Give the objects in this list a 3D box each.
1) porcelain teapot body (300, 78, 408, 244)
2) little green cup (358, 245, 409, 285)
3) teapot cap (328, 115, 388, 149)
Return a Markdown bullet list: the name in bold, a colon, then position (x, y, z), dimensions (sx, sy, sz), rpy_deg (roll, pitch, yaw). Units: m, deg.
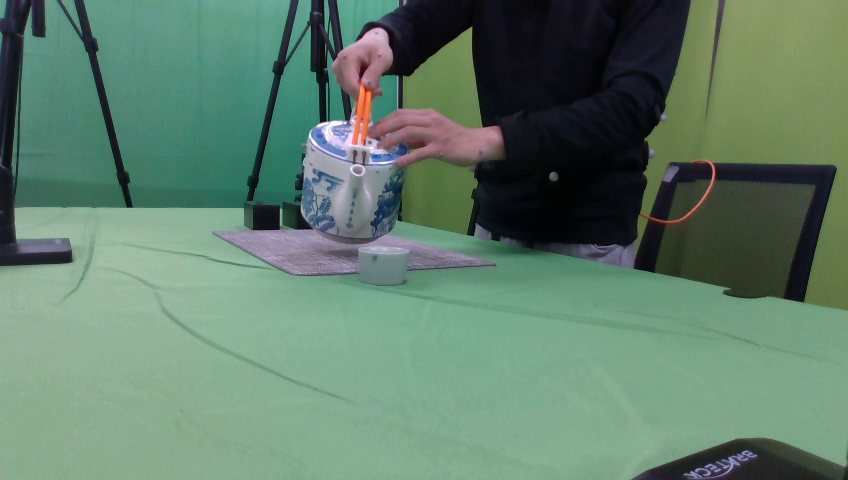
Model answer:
- **porcelain teapot body**: position (-0.094, -0.101, 0.840), dimensions (0.145, 0.225, 0.205), rpy_deg (6, 31, -11)
- **little green cup**: position (-0.048, 0.029, 0.707), dimensions (0.061, 0.038, 0.061), rpy_deg (2, 8, 0)
- **teapot cap**: position (-0.091, -0.151, 0.844), dimensions (0.085, 0.044, 0.085), rpy_deg (7, 33, -4)
